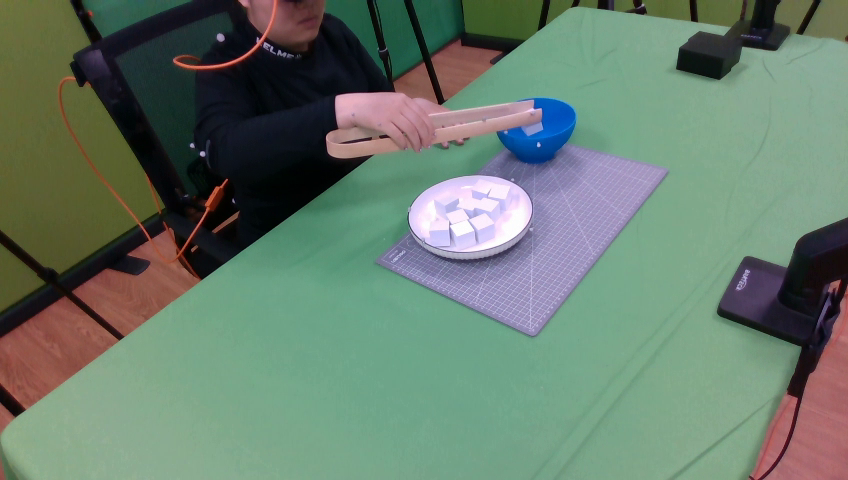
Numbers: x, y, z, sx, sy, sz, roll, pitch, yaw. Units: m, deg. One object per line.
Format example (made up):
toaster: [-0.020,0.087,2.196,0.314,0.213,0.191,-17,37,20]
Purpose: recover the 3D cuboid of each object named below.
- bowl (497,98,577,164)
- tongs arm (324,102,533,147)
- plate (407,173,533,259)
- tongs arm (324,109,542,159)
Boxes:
bowl: [0.207,-0.196,1.128,0.151,0.077,0.150,-5,40,5]
tongs arm: [0.016,-0.198,1.041,0.389,0.028,0.028,-13,43,-17]
plate: [0.076,-0.037,0.997,0.207,0.039,0.206,-5,40,5]
tongs arm: [0.025,-0.185,1.023,0.387,0.026,0.050,-15,40,-20]
